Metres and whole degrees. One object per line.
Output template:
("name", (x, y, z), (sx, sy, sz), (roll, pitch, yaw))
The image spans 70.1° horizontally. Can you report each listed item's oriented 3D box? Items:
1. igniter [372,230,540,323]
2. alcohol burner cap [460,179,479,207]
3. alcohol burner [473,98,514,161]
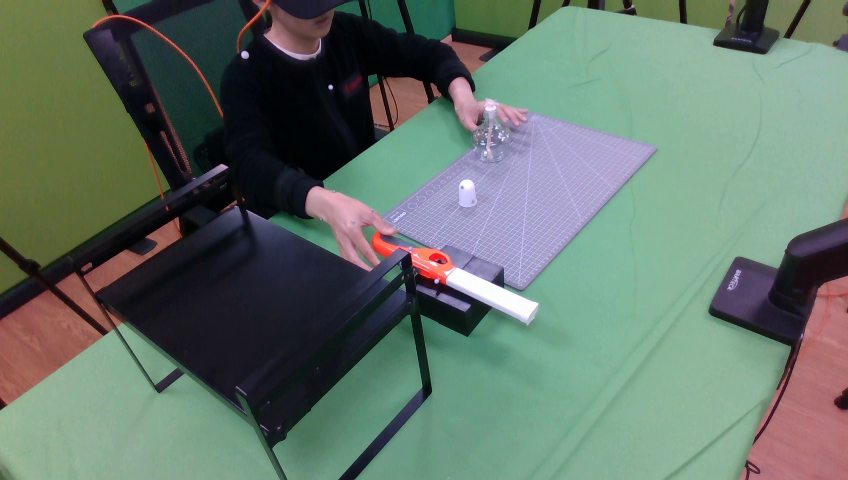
("igniter", (0.033, 0.045, 0.842), (0.274, 0.025, 0.057), (24, 47, 28))
("alcohol burner cap", (0.078, -0.083, 1.041), (0.034, 0.048, 0.033), (-5, 42, 5))
("alcohol burner", (0.127, -0.208, 1.124), (0.078, 0.119, 0.077), (-5, 39, 5))
